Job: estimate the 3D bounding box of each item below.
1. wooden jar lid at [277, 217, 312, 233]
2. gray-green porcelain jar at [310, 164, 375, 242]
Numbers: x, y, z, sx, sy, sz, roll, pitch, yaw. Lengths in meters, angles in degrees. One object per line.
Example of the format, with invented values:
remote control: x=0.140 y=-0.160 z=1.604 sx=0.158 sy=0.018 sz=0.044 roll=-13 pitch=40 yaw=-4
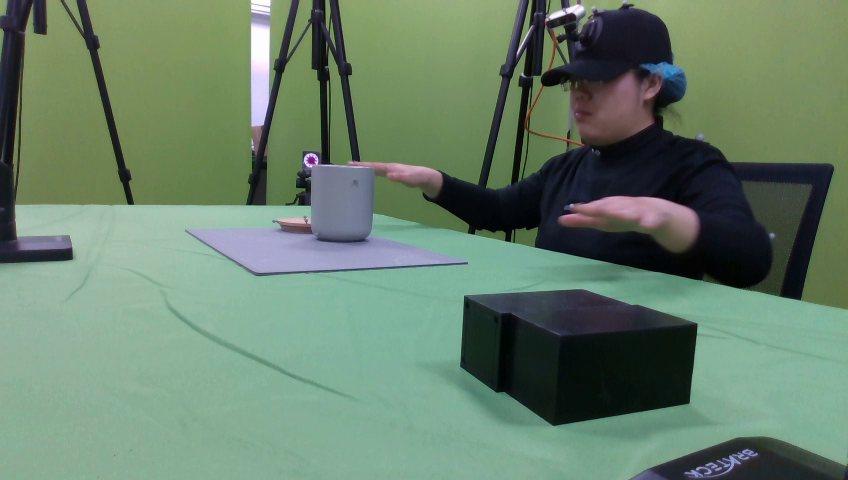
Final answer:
wooden jar lid: x=-0.221 y=-0.028 z=1.138 sx=0.108 sy=0.020 sz=0.108 roll=2 pitch=9 yaw=0
gray-green porcelain jar: x=-0.139 y=-0.064 z=1.025 sx=0.106 sy=0.126 sz=0.106 roll=3 pitch=7 yaw=0
